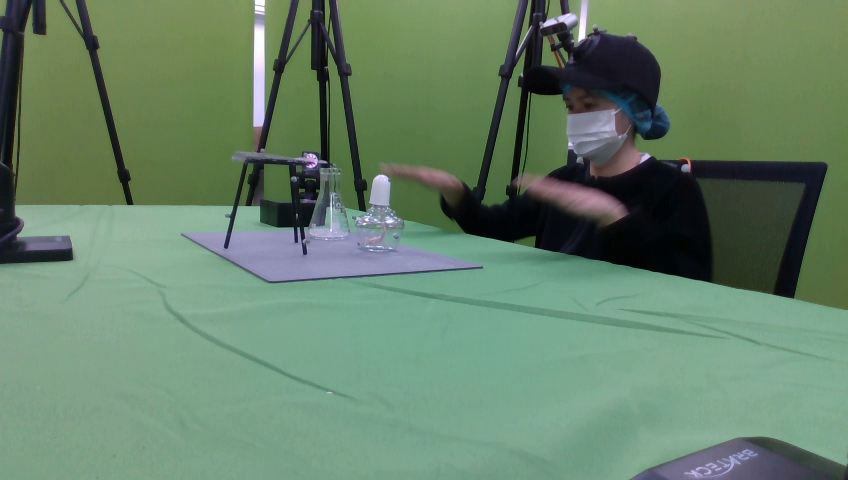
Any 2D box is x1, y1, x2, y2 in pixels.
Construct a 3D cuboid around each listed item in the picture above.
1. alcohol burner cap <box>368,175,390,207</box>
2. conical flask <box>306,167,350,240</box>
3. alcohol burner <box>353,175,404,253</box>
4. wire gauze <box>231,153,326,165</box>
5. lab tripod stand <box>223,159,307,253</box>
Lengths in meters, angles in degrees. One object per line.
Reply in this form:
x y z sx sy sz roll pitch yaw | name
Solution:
-0.067 -0.075 0.923 0.034 0.048 0.034 8 11 -1 | alcohol burner cap
-0.164 -0.063 1.042 0.075 0.122 0.075 3 7 0 | conical flask
-0.070 -0.040 0.926 0.078 0.119 0.078 1 9 0 | alcohol burner
-0.215 -0.118 0.881 0.125 0.011 0.121 1 7 -19 | wire gauze
-0.220 -0.053 0.896 0.148 0.131 0.148 1 6 0 | lab tripod stand
